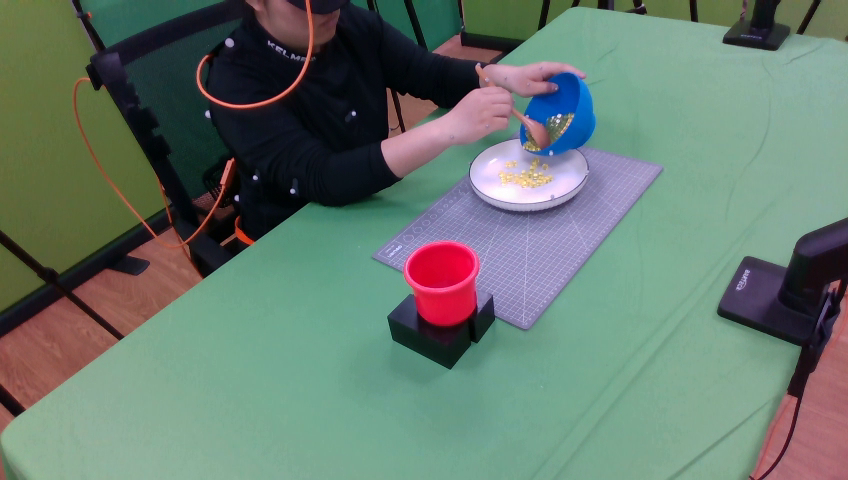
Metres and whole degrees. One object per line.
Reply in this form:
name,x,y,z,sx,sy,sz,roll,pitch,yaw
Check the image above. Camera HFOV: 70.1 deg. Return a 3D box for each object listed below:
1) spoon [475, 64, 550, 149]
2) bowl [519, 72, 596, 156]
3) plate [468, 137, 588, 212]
spoon,0.152,-0.225,1.032,0.021,0.194,0.041,-31,22,53
bowl,0.246,-0.208,1.058,0.077,0.151,0.150,21,31,-28
plate,0.182,-0.112,1.064,0.207,0.039,0.206,-5,40,5
